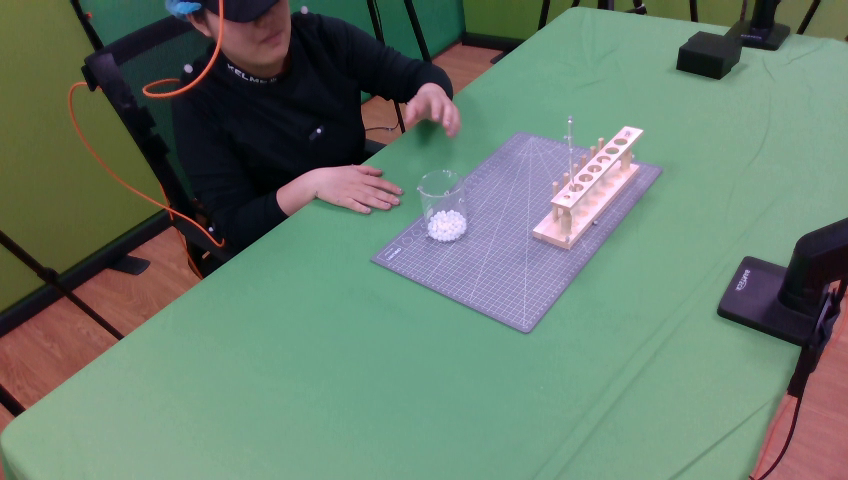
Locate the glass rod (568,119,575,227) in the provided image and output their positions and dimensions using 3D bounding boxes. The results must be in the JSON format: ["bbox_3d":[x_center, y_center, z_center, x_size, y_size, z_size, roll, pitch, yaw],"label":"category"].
[{"bbox_3d":[0.218,-0.093,0.894,0.008,0.201,0.008,-8,43,8],"label":"glass rod"}]

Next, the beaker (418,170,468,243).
[{"bbox_3d":[0.034,-0.054,0.976,0.073,0.101,0.084,9,43,20],"label":"beaker"}]

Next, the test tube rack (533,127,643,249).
[{"bbox_3d":[0.271,-0.094,0.989,0.066,0.085,0.243,23,50,33],"label":"test tube rack"}]
